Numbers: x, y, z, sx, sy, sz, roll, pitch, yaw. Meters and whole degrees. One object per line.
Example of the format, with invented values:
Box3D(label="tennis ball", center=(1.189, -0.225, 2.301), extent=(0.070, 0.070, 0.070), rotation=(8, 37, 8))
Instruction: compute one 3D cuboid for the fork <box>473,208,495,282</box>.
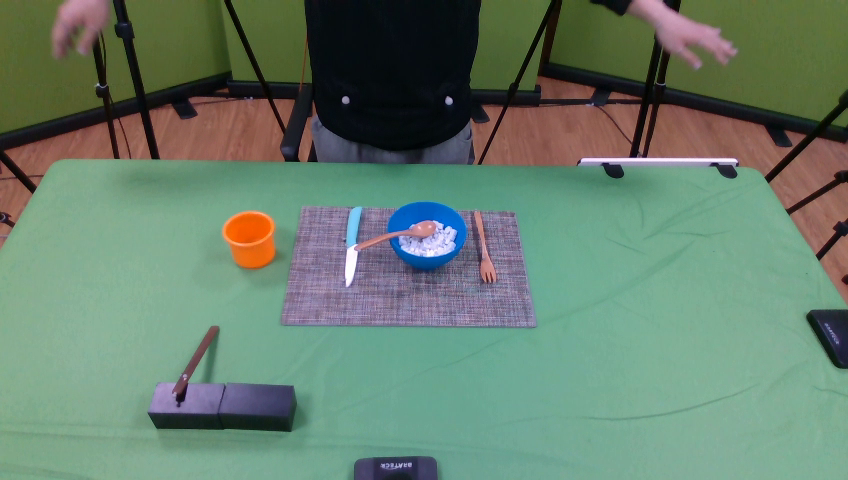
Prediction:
Box3D(label="fork", center=(0.115, 0.007, 1.196), extent=(0.028, 0.019, 0.206), rotation=(-8, 48, 2))

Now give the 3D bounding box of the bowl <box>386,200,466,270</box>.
Box3D(label="bowl", center=(0.002, 0.003, 1.150), extent=(0.151, 0.077, 0.150), rotation=(2, 46, -2))

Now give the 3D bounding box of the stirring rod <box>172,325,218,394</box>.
Box3D(label="stirring rod", center=(-0.360, 0.185, 0.962), extent=(0.014, 0.006, 0.175), rotation=(0, 26, 1))

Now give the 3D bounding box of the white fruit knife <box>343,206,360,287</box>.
Box3D(label="white fruit knife", center=(-0.143, 0.010, 1.175), extent=(0.027, 0.016, 0.206), rotation=(-6, 47, 6))

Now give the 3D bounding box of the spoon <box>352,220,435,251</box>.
Box3D(label="spoon", center=(-0.054, -0.008, 1.109), extent=(0.194, 0.022, 0.041), rotation=(-14, 40, -42))
